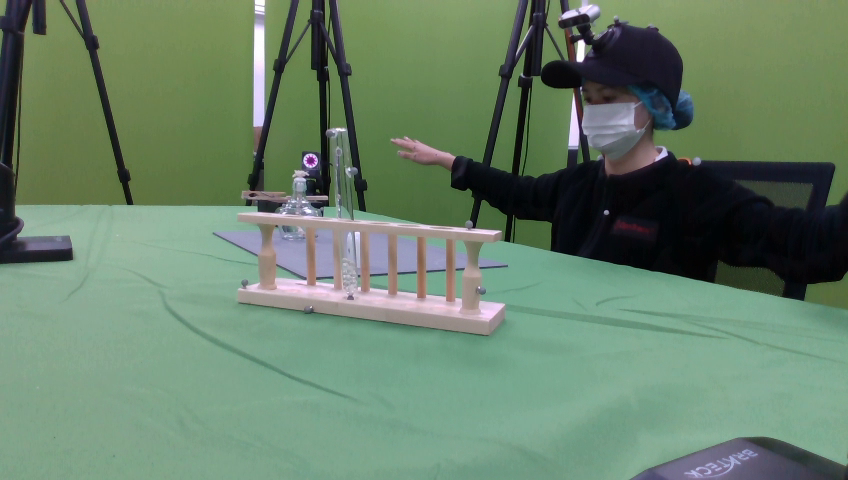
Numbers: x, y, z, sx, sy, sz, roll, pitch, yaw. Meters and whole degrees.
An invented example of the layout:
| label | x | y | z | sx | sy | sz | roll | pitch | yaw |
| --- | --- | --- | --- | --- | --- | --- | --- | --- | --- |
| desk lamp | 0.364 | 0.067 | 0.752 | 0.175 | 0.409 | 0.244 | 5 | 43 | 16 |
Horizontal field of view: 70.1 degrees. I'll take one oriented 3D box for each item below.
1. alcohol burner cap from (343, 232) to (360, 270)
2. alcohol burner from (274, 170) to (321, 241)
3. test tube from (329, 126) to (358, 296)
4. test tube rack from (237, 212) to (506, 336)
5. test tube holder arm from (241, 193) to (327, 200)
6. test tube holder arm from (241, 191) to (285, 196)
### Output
| label | x | y | z | sx | sy | sz | roll | pitch | yaw |
| --- | --- | --- | --- | --- | --- | --- | --- | --- | --- |
| alcohol burner cap | -0.087 | 0.013 | 0.777 | 0.034 | 0.048 | 0.034 | 3 | 7 | 0 |
| alcohol burner | -0.212 | -0.058 | 1.015 | 0.078 | 0.119 | 0.078 | 4 | 5 | 0 |
| test tube | -0.071 | -0.025 | 0.535 | 0.017 | 0.150 | 0.017 | -3 | 7 | 1 |
| test tube rack | -0.049 | 0.024 | 0.552 | 0.242 | 0.085 | 0.067 | 5 | 8 | 19 |
| test tube holder arm | -0.289 | -0.091 | 1.261 | 0.179 | 0.013 | 0.015 | -3 | 7 | -29 |
| test tube holder arm | -0.328 | -0.095 | 1.238 | 0.088 | 0.010 | 0.015 | -2 | 7 | -29 |
